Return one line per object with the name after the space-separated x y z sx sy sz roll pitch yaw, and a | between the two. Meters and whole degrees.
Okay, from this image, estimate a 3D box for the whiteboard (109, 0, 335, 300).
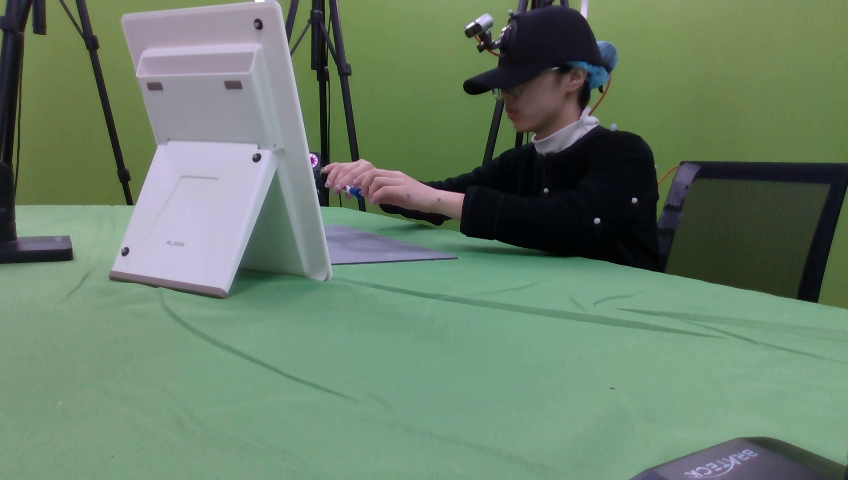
-0.247 -0.072 0.625 0.216 0.305 0.144 6 28 26 | whiteboard

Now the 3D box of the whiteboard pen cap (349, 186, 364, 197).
-0.115 -0.084 1.034 0.018 0.018 0.033 -2 13 -28 | whiteboard pen cap

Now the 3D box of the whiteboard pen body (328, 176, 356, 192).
-0.142 -0.098 1.084 0.017 0.017 0.140 -2 15 -30 | whiteboard pen body
